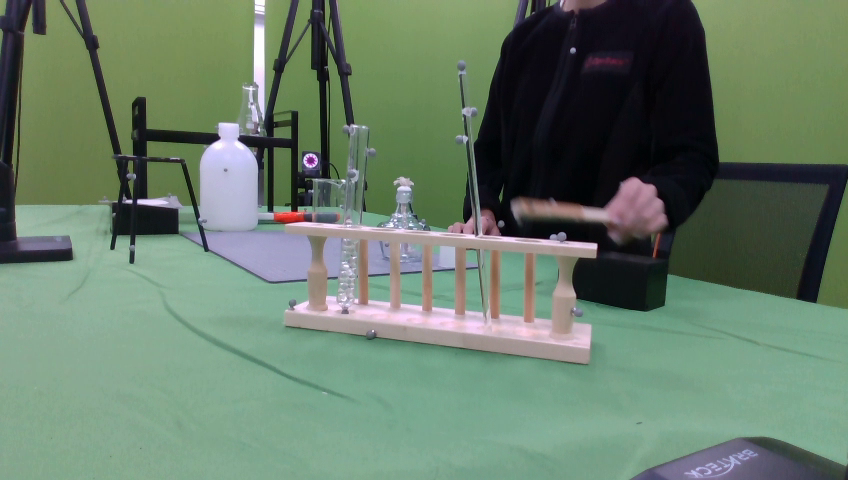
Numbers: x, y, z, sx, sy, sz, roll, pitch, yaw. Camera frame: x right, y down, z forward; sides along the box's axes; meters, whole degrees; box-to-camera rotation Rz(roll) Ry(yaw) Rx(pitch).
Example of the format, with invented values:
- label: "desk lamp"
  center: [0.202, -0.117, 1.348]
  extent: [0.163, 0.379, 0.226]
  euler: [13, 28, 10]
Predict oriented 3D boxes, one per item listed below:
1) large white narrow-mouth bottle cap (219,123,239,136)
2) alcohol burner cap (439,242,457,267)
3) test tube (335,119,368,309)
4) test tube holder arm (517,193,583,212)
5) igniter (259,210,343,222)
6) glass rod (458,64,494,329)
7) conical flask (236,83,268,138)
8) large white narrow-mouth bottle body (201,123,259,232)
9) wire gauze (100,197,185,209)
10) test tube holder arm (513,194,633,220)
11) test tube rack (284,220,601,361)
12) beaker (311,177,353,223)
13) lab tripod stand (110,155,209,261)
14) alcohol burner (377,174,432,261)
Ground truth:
- label: "large white narrow-mouth bottle cap"
  center: [-0.356, -0.201, 1.104]
  extent: [0.038, 0.024, 0.037]
  euler: [2, 8, 0]
- label: "alcohol burner cap"
  center: [0.038, 0.011, 0.807]
  extent: [0.034, 0.048, 0.034]
  euler: [3, 8, 0]
- label: "test tube"
  center: [-0.057, -0.019, 0.477]
  extent: [0.017, 0.150, 0.017]
  euler: [5, 9, -1]
- label: "test tube holder arm"
  center: [0.137, -0.040, 0.656]
  extent: [0.088, 0.015, 0.010]
  euler: [5, -3, -31]
- label: "igniter"
  center: [-0.303, -0.049, 1.258]
  extent: [0.278, 0.025, 0.057]
  euler: [-2, -2, -28]
- label: "glass rod"
  center: [0.039, -0.029, 0.449]
  extent: [0.008, 0.199, 0.008]
  euler: [-7, 9, 1]
- label: "conical flask"
  center: [-0.400, -0.298, 1.396]
  extent: [0.075, 0.122, 0.075]
  euler: [2, 8, 0]
- label: "large white narrow-mouth bottle body"
  center: [-0.358, -0.116, 1.116]
  extent: [0.102, 0.194, 0.102]
  euler: [2, 8, 0]
- label: "wire gauze"
  center: [-0.469, -0.062, 1.008]
  extent: [0.126, 0.011, 0.121]
  euler: [-2, 8, -25]
- label: "test tube holder arm"
  center: [0.173, -0.037, 0.685]
  extent: [0.179, 0.015, 0.013]
  euler: [5, -3, -32]
- label: "test tube rack"
  center: [0.013, 0.032, 0.482]
  extent: [0.242, 0.085, 0.067]
  euler: [4, 7, 16]
- label: "beaker"
  center: [-0.167, -0.064, 1.106]
  extent: [0.074, 0.100, 0.083]
  euler: [-2, 9, -27]
- label: "lab tripod stand"
  center: [-0.361, -0.046, 0.806]
  extent: [0.148, 0.131, 0.148]
  euler: [2, 5, 0]
- label: "alcohol burner"
  center: [-0.027, -0.031, 0.838]
  extent: [0.078, 0.119, 0.078]
  euler: [0, 6, 0]
